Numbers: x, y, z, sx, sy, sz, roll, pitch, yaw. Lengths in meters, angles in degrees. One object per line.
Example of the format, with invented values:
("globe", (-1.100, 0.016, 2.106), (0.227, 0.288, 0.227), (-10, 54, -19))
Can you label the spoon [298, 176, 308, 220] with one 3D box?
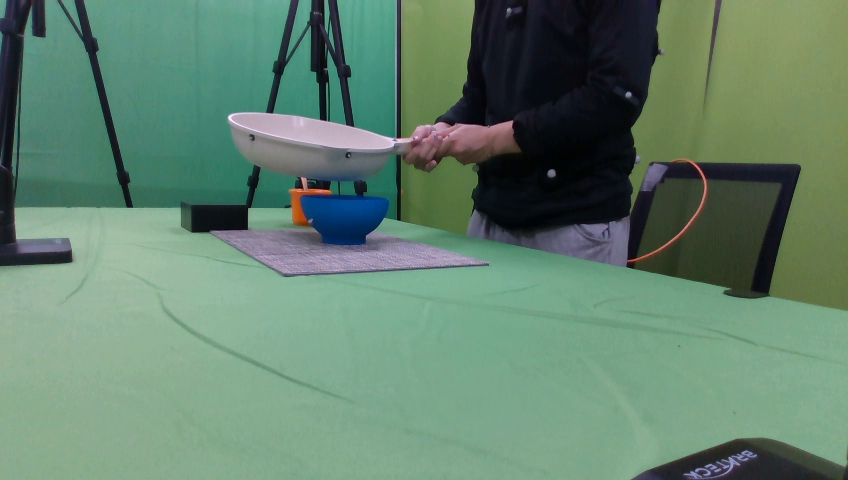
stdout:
("spoon", (-0.264, -0.114, 1.338), (0.042, 0.193, 0.021), (0, -37, -21))

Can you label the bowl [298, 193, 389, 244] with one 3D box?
("bowl", (-0.136, -0.037, 1.018), (0.151, 0.077, 0.151), (2, 7, 0))

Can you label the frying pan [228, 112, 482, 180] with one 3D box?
("frying pan", (-0.108, -0.182, 1.135), (0.490, 0.102, 0.305), (-6, 23, -22))
